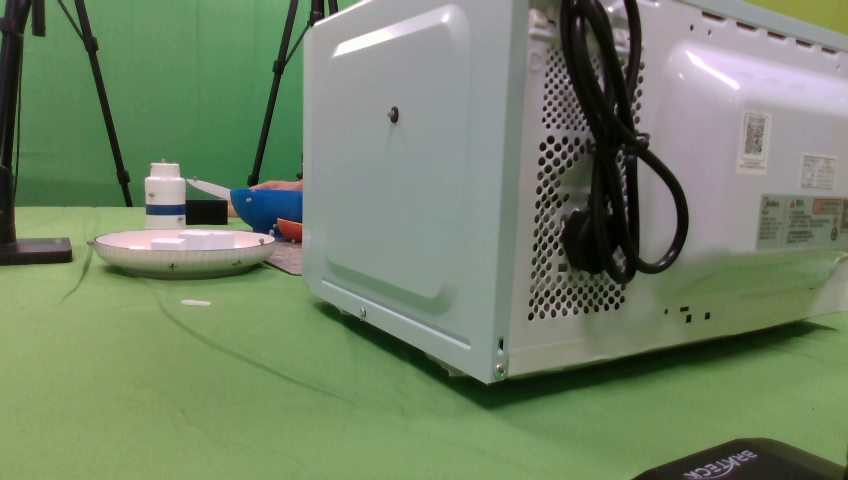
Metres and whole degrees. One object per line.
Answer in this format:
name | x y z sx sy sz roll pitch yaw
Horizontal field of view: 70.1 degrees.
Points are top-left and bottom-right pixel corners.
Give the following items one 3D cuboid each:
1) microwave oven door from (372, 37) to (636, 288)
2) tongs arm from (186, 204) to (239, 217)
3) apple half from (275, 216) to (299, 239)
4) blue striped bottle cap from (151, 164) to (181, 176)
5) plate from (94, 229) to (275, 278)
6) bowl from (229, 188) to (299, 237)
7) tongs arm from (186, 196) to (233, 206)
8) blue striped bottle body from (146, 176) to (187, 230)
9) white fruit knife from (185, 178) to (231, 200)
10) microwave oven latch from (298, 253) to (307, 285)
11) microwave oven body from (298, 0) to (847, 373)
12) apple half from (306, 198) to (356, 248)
microwave oven door | 0.110 -0.080 0.686 0.358 0.243 0.039 -2 9 -33
tongs arm | -0.396 -0.067 1.399 0.389 0.028 0.028 1 5 -15
apple half | -0.201 -0.017 0.983 0.081 0.033 0.081 10 3 0
blue striped bottle cap | -0.428 -0.116 1.002 0.044 0.020 0.044 1 6 0
plate | -0.291 0.016 0.750 0.208 0.039 0.207 2 7 0
bowl | -0.265 -0.048 1.066 0.151 0.077 0.151 3 8 0
tongs arm | -0.404 -0.081 1.479 0.385 0.026 0.050 3 8 -2
blue striped bottle body | -0.430 -0.065 1.010 0.063 0.120 0.063 2 7 0
white fruit knife | -0.401 -0.095 1.282 0.208 0.027 0.016 18 -2 -33
microwave oven latch | -0.081 0.027 0.582 0.079 0.029 0.030 -1 7 -32
microwave oven body | 0.151 -0.055 0.542 0.444 0.260 0.324 -2 7 -33
apple half | -0.136 -0.024 0.937 0.053 0.074 0.081 17 18 34
